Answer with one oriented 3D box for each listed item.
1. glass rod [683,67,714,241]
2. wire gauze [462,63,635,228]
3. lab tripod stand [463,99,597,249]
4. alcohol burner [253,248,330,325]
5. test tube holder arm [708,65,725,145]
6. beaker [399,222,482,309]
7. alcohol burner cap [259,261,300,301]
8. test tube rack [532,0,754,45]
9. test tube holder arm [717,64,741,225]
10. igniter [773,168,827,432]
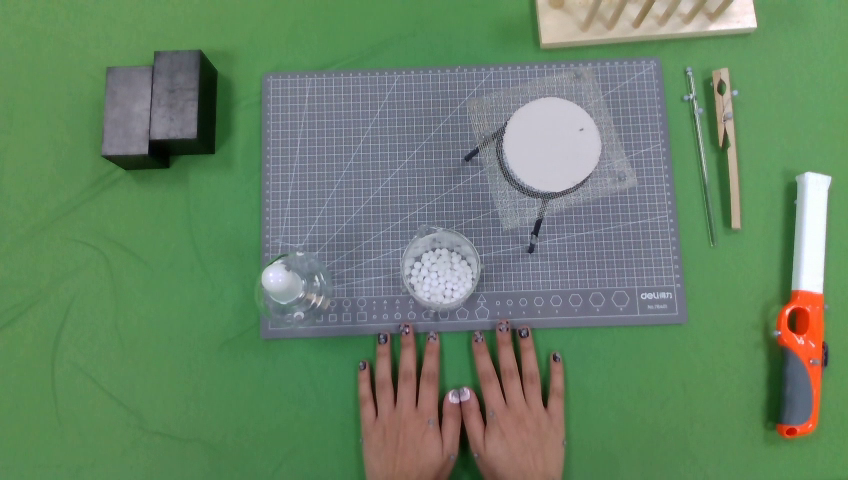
[{"bbox_3d":[0.300,-0.096,0.664,0.008,0.008,0.199,-4,80,0],"label":"glass rod"},{"bbox_3d":[0.108,-0.086,0.533,0.121,0.011,0.124,-17,81,0],"label":"wire gauze"},{"bbox_3d":[0.105,-0.073,0.598,0.148,0.132,0.148,0,81,3],"label":"lab tripod stand"},{"bbox_3d":[-0.134,0.043,0.594,0.078,0.119,0.077,0,78,2],"label":"alcohol burner"},{"bbox_3d":[0.324,-0.149,0.668,0.010,0.015,0.087,-8,79,34],"label":"test tube holder arm"},{"bbox_3d":[0.014,0.029,0.601,0.074,0.100,0.083,-24,80,-3],"label":"beaker"},{"bbox_3d":[-0.135,0.035,0.559,0.034,0.048,0.033,0,71,0],"label":"alcohol burner cap"},{"bbox_3d":[0.246,-0.271,0.655,0.242,0.085,0.066,-5,80,0],"label":"test tube rack"},{"bbox_3d":[0.331,-0.105,0.658,0.013,0.015,0.177,-9,79,34],"label":"test tube holder arm"},{"bbox_3d":[0.392,0.060,0.629,0.057,0.025,0.275,10,81,-7],"label":"igniter"}]
